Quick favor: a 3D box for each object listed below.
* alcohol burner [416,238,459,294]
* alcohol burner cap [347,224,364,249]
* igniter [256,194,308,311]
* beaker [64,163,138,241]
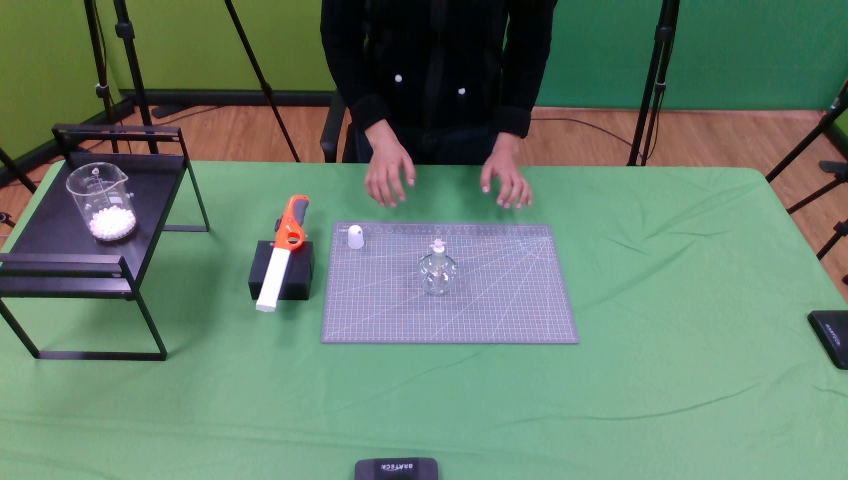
[{"bbox_3d":[0.024,0.042,1.088,0.078,0.120,0.077,1,46,0],"label":"alcohol burner"},{"bbox_3d":[-0.134,-0.011,1.177,0.034,0.048,0.033,2,47,-2],"label":"alcohol burner cap"},{"bbox_3d":[-0.254,0.012,1.096,0.057,0.025,0.275,13,46,-8],"label":"igniter"},{"bbox_3d":[-0.477,-0.055,0.910,0.084,0.101,0.073,-9,48,-13],"label":"beaker"}]
